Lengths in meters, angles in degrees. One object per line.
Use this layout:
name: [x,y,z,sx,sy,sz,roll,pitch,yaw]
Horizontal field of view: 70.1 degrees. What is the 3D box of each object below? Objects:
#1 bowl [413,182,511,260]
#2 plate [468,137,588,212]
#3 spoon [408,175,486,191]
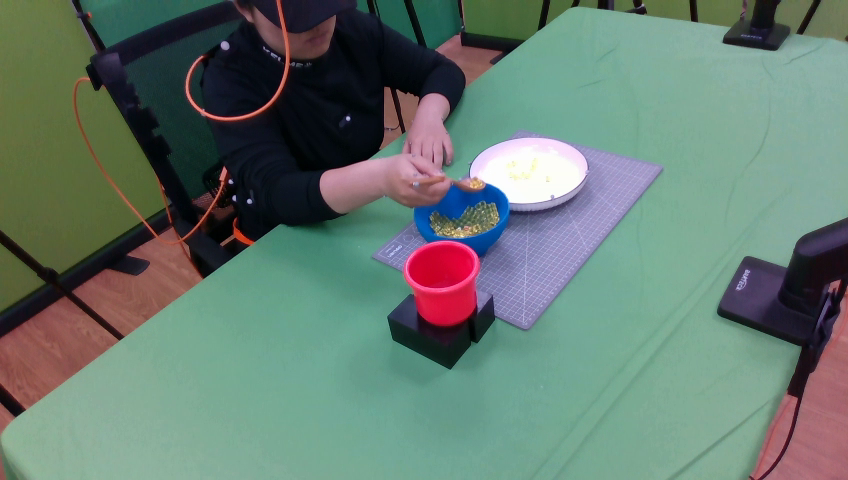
bowl: [0.062,-0.021,0.947,0.151,0.077,0.150,-5,40,5]
plate: [0.182,-0.112,1.064,0.207,0.039,0.206,-5,40,5]
spoon: [0.034,-0.086,0.873,0.041,0.021,0.195,26,15,30]
